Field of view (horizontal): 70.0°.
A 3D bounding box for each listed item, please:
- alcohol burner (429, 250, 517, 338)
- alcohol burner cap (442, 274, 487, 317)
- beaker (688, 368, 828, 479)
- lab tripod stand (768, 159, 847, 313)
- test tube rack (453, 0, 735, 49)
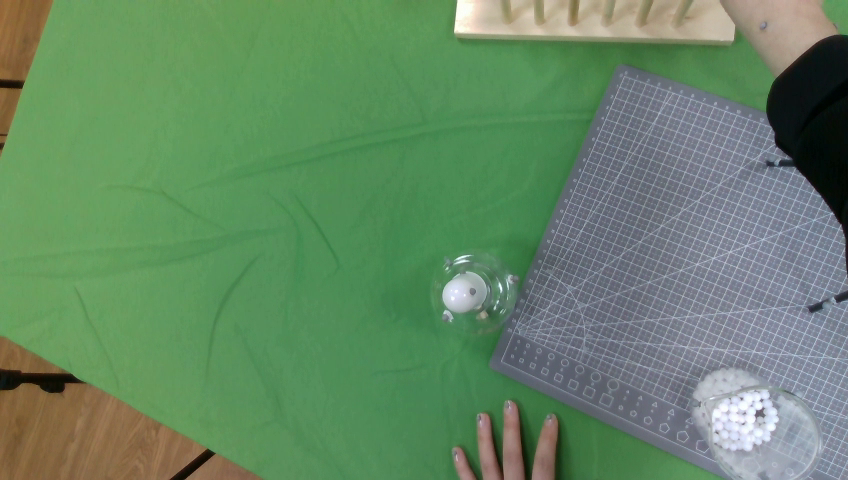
[{"bbox_3d":[0.039,0.046,0.517,0.078,0.119,0.078,-1,87,12],"label":"alcohol burner"},{"bbox_3d":[0.030,0.045,0.482,0.034,0.048,0.034,1,92,14],"label":"alcohol burner cap"},{"bbox_3d":[0.248,0.140,0.471,0.083,0.100,0.074,30,95,13],"label":"beaker"},{"bbox_3d":[0.325,-0.012,0.438,0.148,0.132,0.148,0,90,12],"label":"lab tripod stand"},{"bbox_3d":[0.140,-0.211,0.512,0.241,0.085,0.066,6,90,13],"label":"test tube rack"}]
